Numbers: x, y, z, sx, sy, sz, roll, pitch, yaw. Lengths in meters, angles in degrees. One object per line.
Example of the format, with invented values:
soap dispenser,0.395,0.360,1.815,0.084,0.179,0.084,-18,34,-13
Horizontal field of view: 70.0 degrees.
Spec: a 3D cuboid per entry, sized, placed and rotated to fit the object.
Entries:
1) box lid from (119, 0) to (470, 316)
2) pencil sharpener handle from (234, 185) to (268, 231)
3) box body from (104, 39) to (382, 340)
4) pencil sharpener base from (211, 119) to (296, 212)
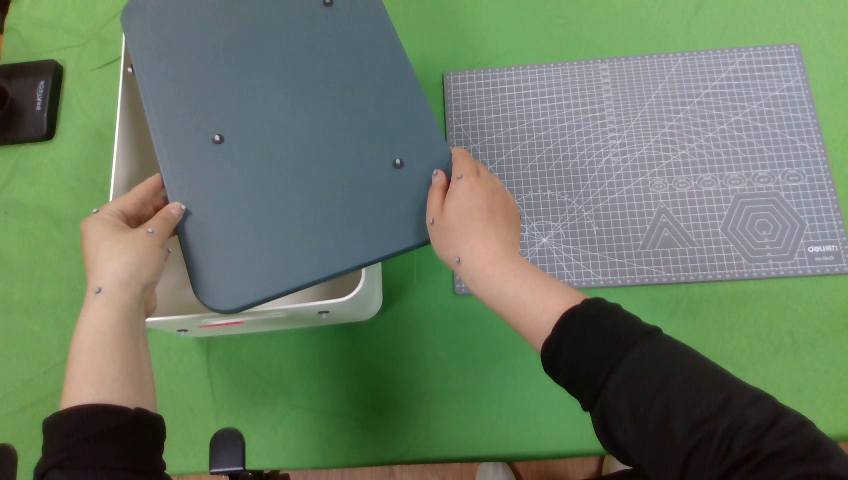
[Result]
box lid,-0.136,-0.130,0.598,0.263,0.015,0.368,-20,71,-10
pencil sharpener handle,-0.199,-0.035,0.689,0.036,0.068,0.030,-2,72,-30
box body,-0.187,-0.077,0.691,0.254,0.161,0.361,-6,73,3
pencil sharpener base,-0.198,-0.081,0.716,0.061,0.107,0.076,-12,75,3
